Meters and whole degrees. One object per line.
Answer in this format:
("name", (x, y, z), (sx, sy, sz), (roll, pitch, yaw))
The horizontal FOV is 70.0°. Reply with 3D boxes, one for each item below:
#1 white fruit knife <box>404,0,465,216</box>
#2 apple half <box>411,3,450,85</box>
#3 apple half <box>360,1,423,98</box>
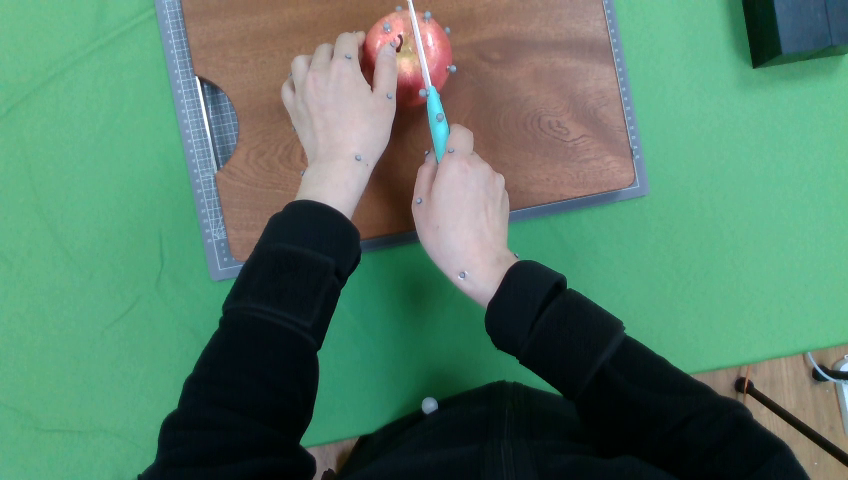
("white fruit knife", (0.004, -0.122, 0.500), (0.016, 0.027, 0.207), (-13, 87, -11))
("apple half", (0.006, -0.175, 0.547), (0.033, 0.081, 0.081), (-13, 91, 1))
("apple half", (-0.030, -0.166, 0.547), (0.053, 0.074, 0.081), (-15, 94, 3))
